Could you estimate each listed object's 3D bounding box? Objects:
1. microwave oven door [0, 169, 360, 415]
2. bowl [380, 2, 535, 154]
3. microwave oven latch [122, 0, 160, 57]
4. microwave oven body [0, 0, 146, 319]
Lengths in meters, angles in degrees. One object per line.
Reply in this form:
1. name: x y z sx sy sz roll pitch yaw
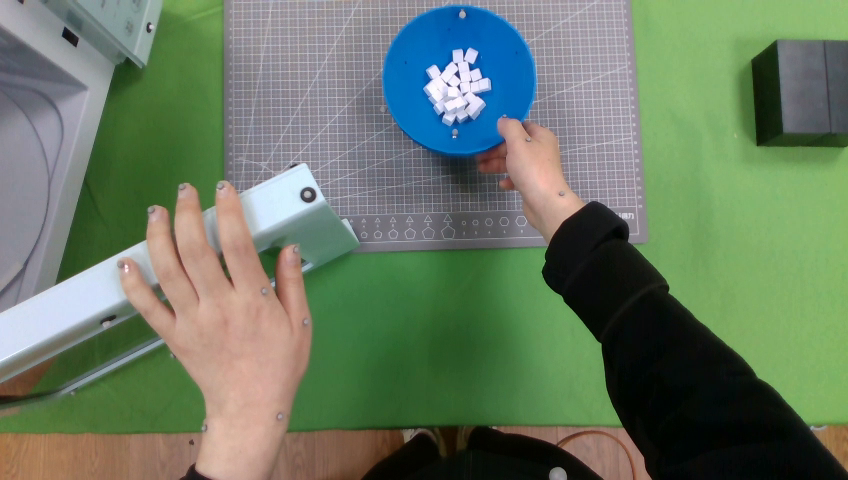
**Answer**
1. microwave oven door: -0.229 0.055 0.498 0.356 0.244 0.039 -27 84 -4
2. bowl: 0.032 -0.153 0.619 0.151 0.077 0.151 0 83 0
3. microwave oven latch: -0.298 -0.234 0.630 0.030 0.029 0.079 14 84 0
4. microwave oven body: -0.478 -0.104 0.515 0.326 0.260 0.440 12 84 0
